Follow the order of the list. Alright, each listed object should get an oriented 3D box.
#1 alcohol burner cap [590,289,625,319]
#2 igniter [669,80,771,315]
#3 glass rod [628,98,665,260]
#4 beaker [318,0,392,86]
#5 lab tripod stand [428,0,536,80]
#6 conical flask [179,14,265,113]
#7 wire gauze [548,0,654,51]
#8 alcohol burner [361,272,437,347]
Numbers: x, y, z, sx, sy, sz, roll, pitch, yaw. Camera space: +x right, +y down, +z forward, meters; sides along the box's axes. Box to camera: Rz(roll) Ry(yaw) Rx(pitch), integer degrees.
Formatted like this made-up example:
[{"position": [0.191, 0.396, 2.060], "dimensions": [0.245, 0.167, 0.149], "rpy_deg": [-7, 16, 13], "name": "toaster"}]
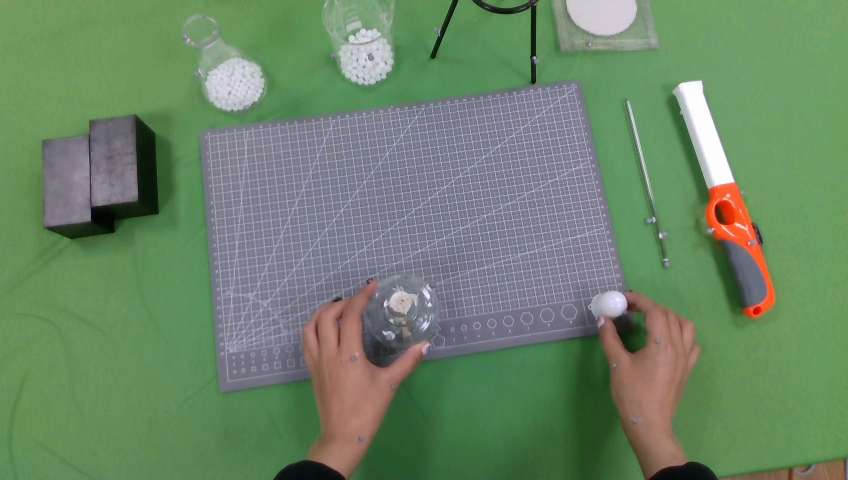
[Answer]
[{"position": [0.198, 0.066, 0.646], "dimensions": [0.034, 0.048, 0.033], "rpy_deg": [-1, 80, 3], "name": "alcohol burner cap"}, {"position": [0.333, -0.053, 0.683], "dimensions": [0.057, 0.025, 0.275], "rpy_deg": [-10, 78, -13], "name": "igniter"}, {"position": [0.257, -0.074, 0.700], "dimensions": [0.008, 0.008, 0.198], "rpy_deg": [-6, 76, -2], "name": "glass rod"}, {"position": [-0.071, -0.227, 0.681], "dimensions": [0.084, 0.100, 0.073], "rpy_deg": [-35, 80, -8], "name": "beaker"}, {"position": [0.076, -0.254, 0.671], "dimensions": [0.148, 0.132, 0.148], "rpy_deg": [0, 79, 0], "name": "lab tripod stand"}, {"position": [-0.225, -0.196, 0.661], "dimensions": [0.075, 0.122, 0.075], "rpy_deg": [0, 77, 0], "name": "conical flask"}, {"position": [0.215, -0.288, 0.744], "dimensions": [0.125, 0.011, 0.121], "rpy_deg": [-4, 79, -3], "name": "wire gauze"}, {"position": [-0.025, 0.067, 0.607], "dimensions": [0.078, 0.119, 0.077], "rpy_deg": [0, 75, -1], "name": "alcohol burner"}]
